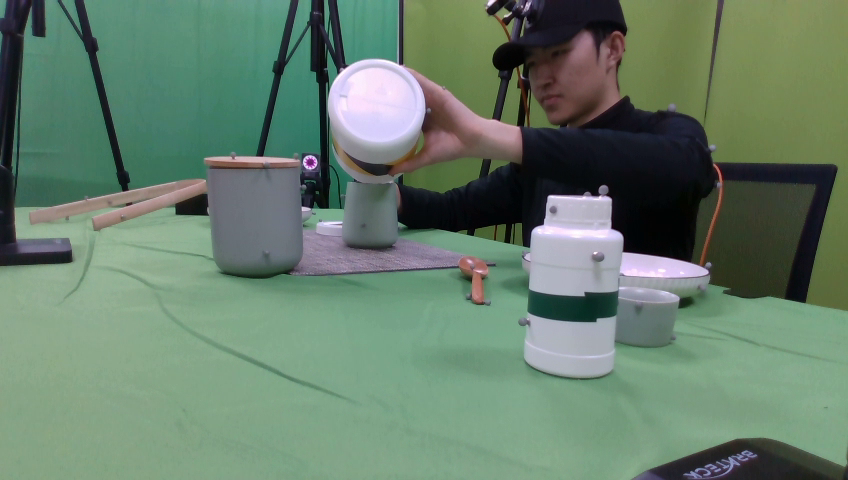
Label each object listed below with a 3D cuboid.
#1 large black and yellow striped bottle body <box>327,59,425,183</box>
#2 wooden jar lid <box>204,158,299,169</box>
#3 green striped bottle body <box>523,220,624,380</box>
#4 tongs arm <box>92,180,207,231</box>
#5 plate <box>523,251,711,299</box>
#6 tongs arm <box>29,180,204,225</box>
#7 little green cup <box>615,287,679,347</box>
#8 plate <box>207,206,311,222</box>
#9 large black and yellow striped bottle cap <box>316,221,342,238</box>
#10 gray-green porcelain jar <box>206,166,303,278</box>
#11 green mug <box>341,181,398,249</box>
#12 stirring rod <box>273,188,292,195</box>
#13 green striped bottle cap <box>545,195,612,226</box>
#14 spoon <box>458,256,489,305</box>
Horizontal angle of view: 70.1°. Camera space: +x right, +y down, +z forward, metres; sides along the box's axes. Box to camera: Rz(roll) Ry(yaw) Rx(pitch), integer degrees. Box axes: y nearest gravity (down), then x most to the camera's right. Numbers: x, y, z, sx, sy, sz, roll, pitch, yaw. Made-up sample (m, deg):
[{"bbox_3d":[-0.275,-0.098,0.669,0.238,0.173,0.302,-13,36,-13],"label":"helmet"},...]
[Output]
[{"bbox_3d":[-0.071,-0.160,0.874,0.131,0.130,0.184,2,-14,-6],"label":"large black and yellow striped bottle body"},{"bbox_3d":[-0.202,-0.086,0.714,0.108,0.020,0.108,3,11,0],"label":"wooden jar lid"},{"bbox_3d":[0.104,0.031,0.422,0.063,0.119,0.063,2,8,0],"label":"green striped bottle body"},{"bbox_3d":[-0.534,-0.076,1.221,0.028,0.028,0.388,-2,15,12],"label":"tongs arm"},{"bbox_3d":[0.219,0.041,0.706,0.209,0.038,0.209,2,7,0],"label":"plate"},{"bbox_3d":[-0.609,-0.083,1.245,0.050,0.026,0.386,5,16,23],"label":"tongs arm"},{"bbox_3d":[0.180,0.064,0.506,0.061,0.038,0.061,2,8,0],"label":"little green cup"},{"bbox_3d":[-0.342,-0.050,1.259,0.208,0.039,0.207,2,7,0],"label":"plate"},{"bbox_3d":[-0.147,-0.021,1.147,0.115,0.019,0.115,2,9,0],"label":"large black and yellow striped bottle cap"},{"bbox_3d":[-0.201,-0.024,0.724,0.106,0.126,0.106,-1,9,1],"label":"gray-green porcelain jar"},{"bbox_3d":[-0.090,-0.044,0.996,0.093,0.105,0.125,1,8,-10],"label":"green mug"},{"bbox_3d":[-0.354,-0.122,1.518,0.006,0.014,0.176,2,6,1],"label":"stirring rod"},{"bbox_3d":[0.106,-0.020,0.414,0.044,0.020,0.044,2,4,0],"label":"green striped bottle cap"},{"bbox_3d":[0.059,0.044,0.695,0.041,0.021,0.194,21,7,0],"label":"spoon"}]
